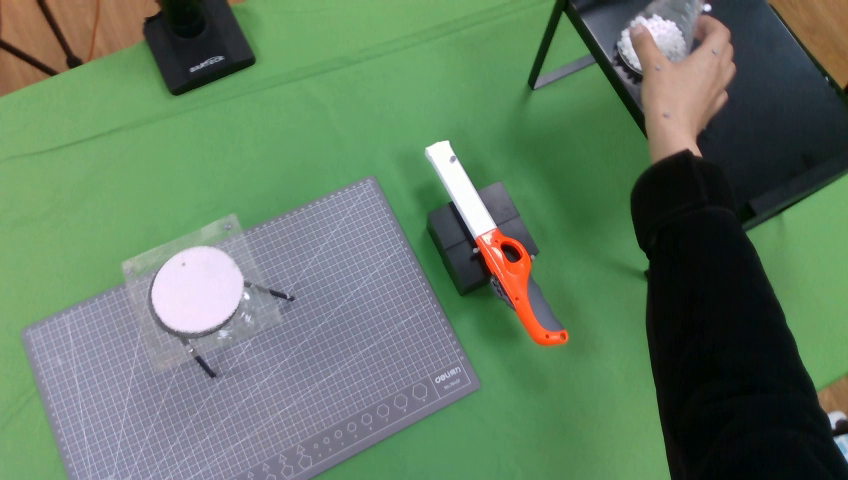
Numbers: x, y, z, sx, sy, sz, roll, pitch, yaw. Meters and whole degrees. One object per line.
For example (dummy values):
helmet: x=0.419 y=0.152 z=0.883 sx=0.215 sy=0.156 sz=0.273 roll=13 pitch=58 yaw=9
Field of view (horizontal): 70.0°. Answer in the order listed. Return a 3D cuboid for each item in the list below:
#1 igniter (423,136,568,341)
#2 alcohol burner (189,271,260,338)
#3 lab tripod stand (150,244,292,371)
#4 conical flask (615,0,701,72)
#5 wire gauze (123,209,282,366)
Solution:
igniter: x=0.078 y=-0.004 z=0.695 sx=0.057 sy=0.025 sz=0.275 roll=-26 pitch=74 yaw=-13
alcohol burner: x=-0.223 y=0.068 z=0.663 sx=0.078 sy=0.119 sz=0.077 roll=0 pitch=75 yaw=-1
lab tripod stand: x=-0.229 y=0.063 z=0.654 sx=0.148 sy=0.132 sz=0.147 roll=0 pitch=74 yaw=0
conical flask: x=0.238 y=-0.223 z=0.578 sx=0.075 sy=0.122 sz=0.075 roll=1 pitch=73 yaw=-2
wire gauze: x=-0.218 y=0.044 z=0.589 sx=0.125 sy=0.011 sz=0.121 roll=-23 pitch=76 yaw=-8
